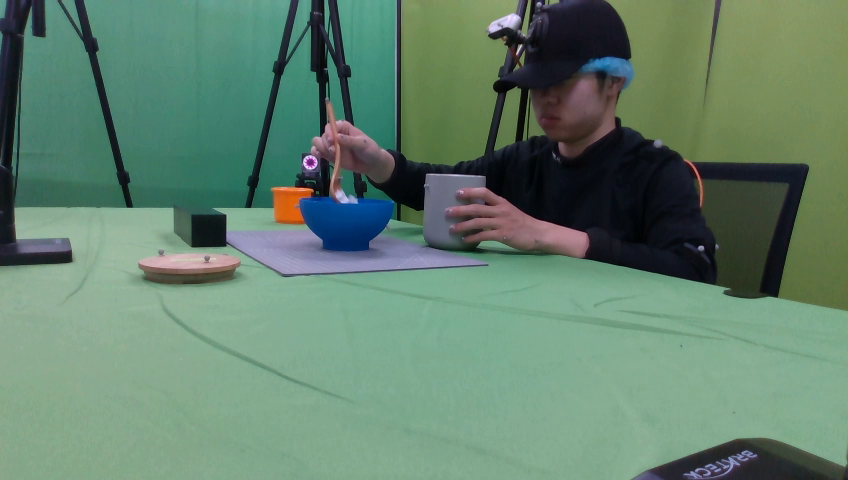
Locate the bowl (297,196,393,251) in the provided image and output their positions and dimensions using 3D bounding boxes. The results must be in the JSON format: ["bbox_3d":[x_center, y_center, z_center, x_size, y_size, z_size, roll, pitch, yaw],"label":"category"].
[{"bbox_3d":[-0.125,-0.026,0.958,0.151,0.077,0.151,2,8,0],"label":"bowl"}]

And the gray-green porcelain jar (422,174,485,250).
[{"bbox_3d":[0.050,-0.049,1.040,0.106,0.126,0.106,2,8,0],"label":"gray-green porcelain jar"}]

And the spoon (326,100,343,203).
[{"bbox_3d":[-0.145,-0.140,0.989,0.021,0.193,0.042,-8,-14,15],"label":"spoon"}]

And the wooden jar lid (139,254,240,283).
[{"bbox_3d":[-0.269,0.033,0.698,0.108,0.020,0.108,2,5,0],"label":"wooden jar lid"}]
